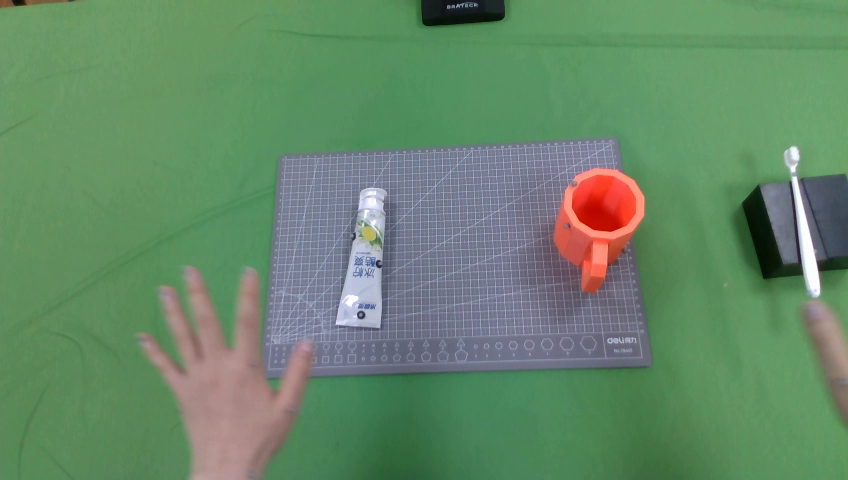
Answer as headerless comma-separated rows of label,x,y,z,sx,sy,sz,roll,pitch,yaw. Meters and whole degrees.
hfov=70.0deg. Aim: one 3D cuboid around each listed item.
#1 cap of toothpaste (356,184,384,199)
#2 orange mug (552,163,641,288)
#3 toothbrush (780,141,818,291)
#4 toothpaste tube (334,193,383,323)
cap of toothpaste,-0.068,-0.059,0.763,0.037,0.037,0.011,-6,68,2
orange mug,0.194,-0.012,0.693,0.083,0.101,0.125,5,65,7
toothbrush,0.420,-0.031,0.677,0.014,0.017,0.180,2,69,3
toothpaste tube,-0.076,0.019,0.741,0.055,0.035,0.164,1,73,11
